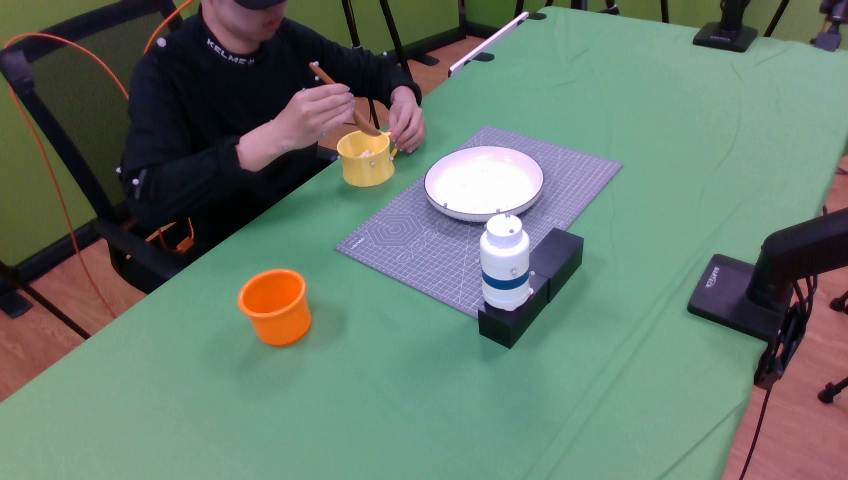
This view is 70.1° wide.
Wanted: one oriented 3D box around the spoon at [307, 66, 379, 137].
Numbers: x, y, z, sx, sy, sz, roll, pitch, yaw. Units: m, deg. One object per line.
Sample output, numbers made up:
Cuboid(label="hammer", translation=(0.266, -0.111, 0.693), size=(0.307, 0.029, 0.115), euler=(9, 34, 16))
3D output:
Cuboid(label="spoon", translation=(-0.134, -0.227, 1.010), size=(0.041, 0.195, 0.021), euler=(15, 69, 36))

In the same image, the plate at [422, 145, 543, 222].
Cuboid(label="plate", translation=(0.101, -0.094, 1.048), size=(0.207, 0.039, 0.206), euler=(-4, 41, 4))

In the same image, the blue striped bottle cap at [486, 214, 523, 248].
Cuboid(label="blue striped bottle cap", translation=(0.098, -0.011, 0.735), size=(0.044, 0.021, 0.044), euler=(-3, 38, 3))

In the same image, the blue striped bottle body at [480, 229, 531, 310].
Cuboid(label="blue striped bottle body", translation=(0.104, 0.027, 0.769), size=(0.063, 0.121, 0.063), euler=(-4, 40, 4))

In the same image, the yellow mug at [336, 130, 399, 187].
Cuboid(label="yellow mug", translation=(-0.099, -0.162, 1.139), size=(0.131, 0.064, 0.099), euler=(-34, 48, -29))
